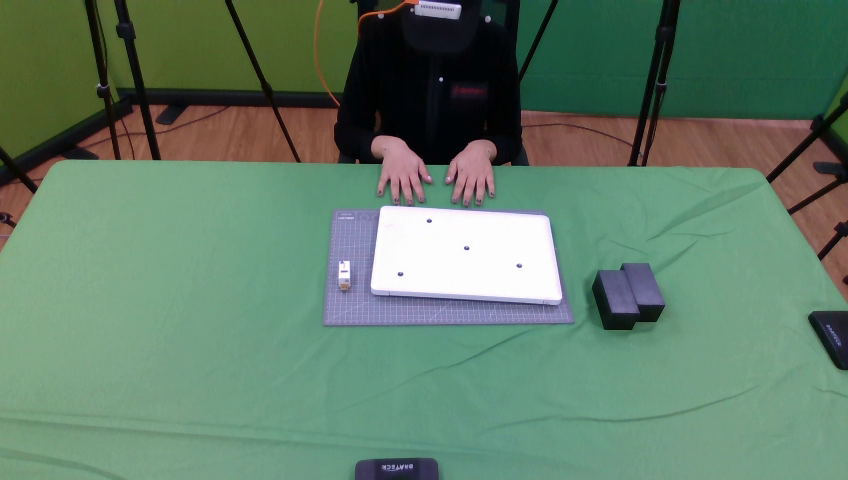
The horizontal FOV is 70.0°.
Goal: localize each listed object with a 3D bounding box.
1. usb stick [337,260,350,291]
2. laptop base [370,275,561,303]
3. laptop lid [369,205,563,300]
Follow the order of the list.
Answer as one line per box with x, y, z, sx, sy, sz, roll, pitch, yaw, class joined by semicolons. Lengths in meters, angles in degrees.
-0.148;0.067;1.116;0.021;0.027;0.059;-1;49;-5;usb stick
0.080;0.028;1.180;0.354;0.023;0.234;3;43;-1;laptop base
0.081;0.018;1.173;0.357;0.013;0.240;5;44;0;laptop lid
